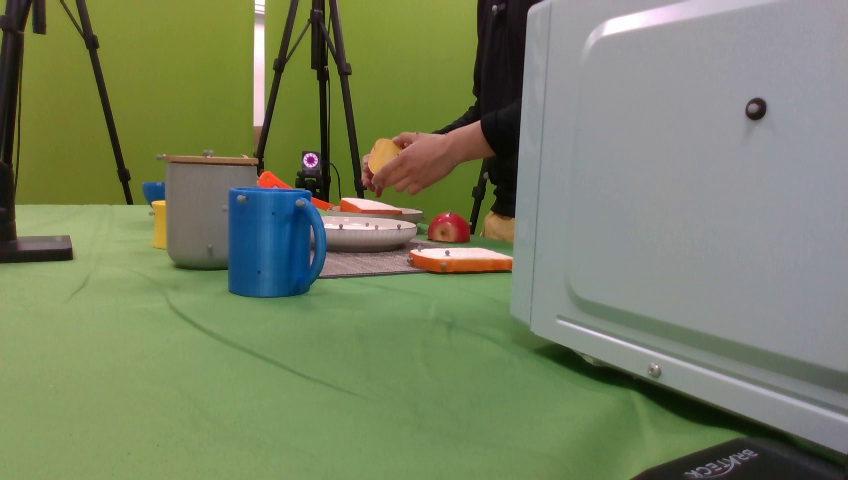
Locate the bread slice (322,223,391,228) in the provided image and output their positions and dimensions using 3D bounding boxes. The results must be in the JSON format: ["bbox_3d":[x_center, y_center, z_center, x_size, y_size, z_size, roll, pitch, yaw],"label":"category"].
[{"bbox_3d":[-0.116,-0.014,0.975,0.135,0.018,0.106,-6,11,-42],"label":"bread slice"}]

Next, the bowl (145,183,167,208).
[{"bbox_3d":[-0.459,-0.068,1.175,0.151,0.077,0.151,3,7,0],"label":"bowl"}]

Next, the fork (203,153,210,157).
[{"bbox_3d":[-0.480,-0.136,1.411,0.028,0.018,0.207,0,-34,-1],"label":"fork"}]

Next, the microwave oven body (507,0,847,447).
[{"bbox_3d":[0.331,-0.042,0.425,0.444,0.260,0.324,-2,8,-31],"label":"microwave oven body"}]

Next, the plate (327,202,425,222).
[{"bbox_3d":[-0.102,-0.053,1.299,0.209,0.038,0.209,3,9,0],"label":"plate"}]

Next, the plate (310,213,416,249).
[{"bbox_3d":[-0.116,-0.014,0.967,0.208,0.039,0.207,2,8,0],"label":"plate"}]

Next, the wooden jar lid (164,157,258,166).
[{"bbox_3d":[-0.261,-0.093,0.746,0.108,0.020,0.108,0,9,0],"label":"wooden jar lid"}]

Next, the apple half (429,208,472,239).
[{"bbox_3d":[0.048,-0.031,1.117,0.080,0.053,0.075,6,9,23],"label":"apple half"}]

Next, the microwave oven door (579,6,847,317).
[{"bbox_3d":[0.294,-0.067,0.570,0.358,0.243,0.039,-3,9,-31],"label":"microwave oven door"}]

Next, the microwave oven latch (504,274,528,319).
[{"bbox_3d":[0.100,0.041,0.470,0.079,0.029,0.030,-1,7,-27],"label":"microwave oven latch"}]

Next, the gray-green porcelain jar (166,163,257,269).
[{"bbox_3d":[-0.263,-0.031,0.754,0.106,0.126,0.106,2,7,0],"label":"gray-green porcelain jar"}]

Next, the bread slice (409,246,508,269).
[{"bbox_3d":[0.048,0.022,0.816,0.132,0.019,0.104,0,7,-24],"label":"bread slice"}]

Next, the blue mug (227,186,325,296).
[{"bbox_3d":[-0.147,0.000,0.618,0.116,0.106,0.083,7,9,32],"label":"blue mug"}]

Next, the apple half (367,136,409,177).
[{"bbox_3d":[-0.070,-0.151,1.132,0.081,0.081,0.032,-2,-6,-23],"label":"apple half"}]

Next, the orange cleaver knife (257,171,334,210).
[{"bbox_3d":[-0.283,-0.087,1.343,0.212,0.077,0.012,24,-16,-41],"label":"orange cleaver knife"}]

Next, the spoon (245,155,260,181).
[{"bbox_3d":[-0.421,-0.150,1.540,0.042,0.021,0.193,-5,55,-37],"label":"spoon"}]

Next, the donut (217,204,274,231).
[{"bbox_3d":[-0.318,-0.038,1.080,0.099,0.048,0.099,3,7,0],"label":"donut"}]

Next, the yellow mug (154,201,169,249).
[{"bbox_3d":[-0.337,-0.022,0.899,0.130,0.064,0.100,8,9,34],"label":"yellow mug"}]
